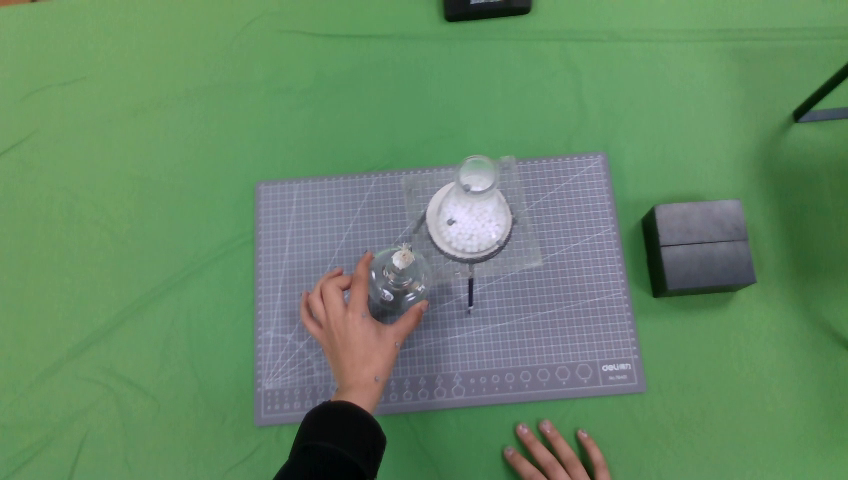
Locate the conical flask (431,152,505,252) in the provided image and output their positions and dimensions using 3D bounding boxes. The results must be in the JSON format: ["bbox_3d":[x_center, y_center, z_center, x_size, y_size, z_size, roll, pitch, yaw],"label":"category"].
[{"bbox_3d":[0.042,-0.039,0.558,0.075,0.122,0.075,0,73,2],"label":"conical flask"}]

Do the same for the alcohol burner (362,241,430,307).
[{"bbox_3d":[-0.030,0.032,0.676,0.078,0.119,0.077,3,69,-7],"label":"alcohol burner"}]

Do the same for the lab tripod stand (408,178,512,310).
[{"bbox_3d":[0.047,-0.007,0.678,0.148,0.132,0.147,0,73,1],"label":"lab tripod stand"}]

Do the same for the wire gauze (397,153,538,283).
[{"bbox_3d":[0.043,-0.023,0.615,0.125,0.011,0.121,-10,76,-5],"label":"wire gauze"}]
